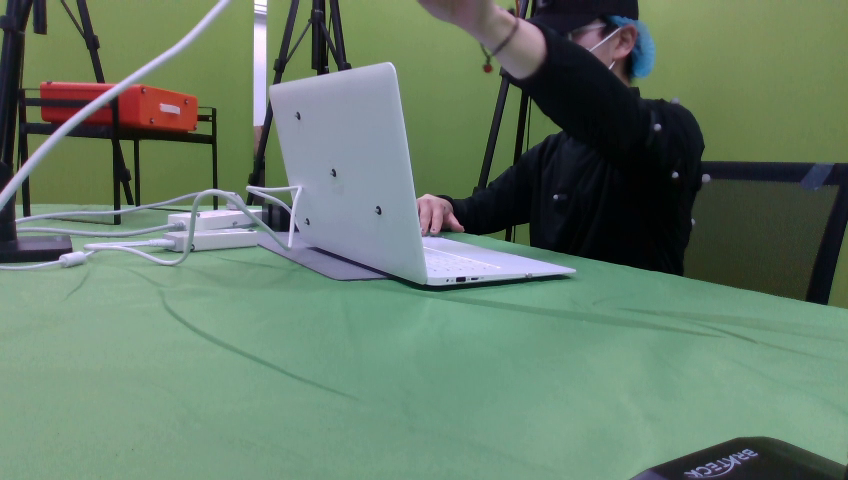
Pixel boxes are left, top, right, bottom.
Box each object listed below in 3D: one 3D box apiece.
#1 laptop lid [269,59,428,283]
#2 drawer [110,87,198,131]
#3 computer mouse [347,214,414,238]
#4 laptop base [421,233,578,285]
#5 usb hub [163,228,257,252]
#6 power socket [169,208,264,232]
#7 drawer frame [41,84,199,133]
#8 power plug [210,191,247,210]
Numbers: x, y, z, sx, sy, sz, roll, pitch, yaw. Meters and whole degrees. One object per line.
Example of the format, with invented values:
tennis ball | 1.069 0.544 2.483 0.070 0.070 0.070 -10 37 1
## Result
laptop lid | -0.110 -0.087 0.752 0.013 0.241 0.355 -18 19 -30
drawer | -0.602 -0.263 1.225 0.211 0.073 0.195 3 8 10
computer mouse | -0.079 -0.025 1.080 0.117 0.041 0.062 -5 11 -18
laptop base | 0.007 0.022 0.850 0.237 0.023 0.352 1 7 -34
usb hub | -0.314 0.000 0.894 0.049 0.025 0.126 9 11 41
power socket | -0.381 -0.038 1.128 0.072 0.032 0.227 4 8 17
drawer frame | -0.604 -0.264 1.225 0.213 0.082 0.202 3 8 8
power plug | -0.386 -0.071 1.204 0.072 0.052 0.035 8 10 25
